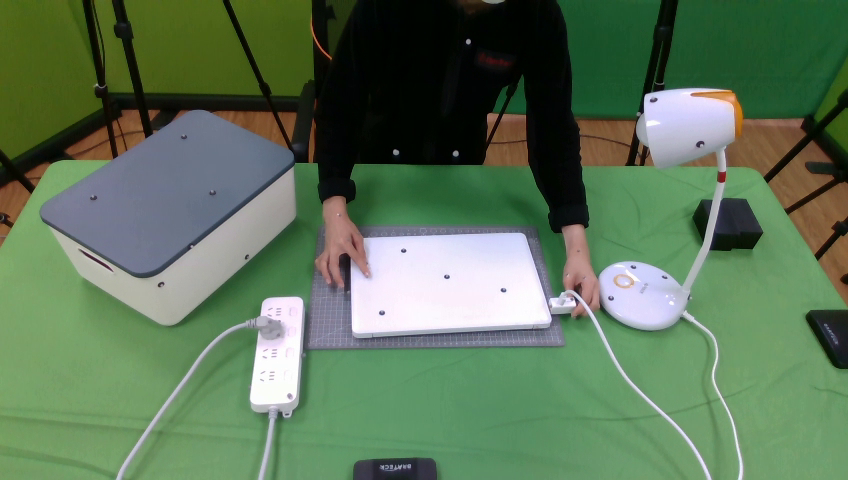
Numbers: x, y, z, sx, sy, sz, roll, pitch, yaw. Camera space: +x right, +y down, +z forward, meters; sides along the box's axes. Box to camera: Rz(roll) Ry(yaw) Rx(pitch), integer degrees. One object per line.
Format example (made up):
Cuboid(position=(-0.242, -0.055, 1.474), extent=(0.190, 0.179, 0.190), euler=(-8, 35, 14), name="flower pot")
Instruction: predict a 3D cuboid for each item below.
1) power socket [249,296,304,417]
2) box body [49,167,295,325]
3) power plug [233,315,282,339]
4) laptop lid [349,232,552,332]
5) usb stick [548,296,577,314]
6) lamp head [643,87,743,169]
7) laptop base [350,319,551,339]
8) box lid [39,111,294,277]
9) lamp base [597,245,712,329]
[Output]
Cuboid(position=(-0.239, 0.182, 0.996), extent=(0.072, 0.033, 0.225), euler=(-2, 47, -5), name="power socket")
Cuboid(position=(-0.437, -0.046, 1.110), extent=(0.253, 0.161, 0.363), euler=(24, 49, 19), name="box body")
Cuboid(position=(-0.271, 0.144, 1.000), extent=(0.072, 0.053, 0.035), euler=(6, 47, 3), name="power plug")
Cuboid(position=(0.040, 0.070, 1.119), extent=(0.357, 0.013, 0.240), euler=(-1, 44, -5), name="laptop lid")
Cuboid(position=(0.241, 0.118, 1.088), extent=(0.059, 0.027, 0.021), euler=(-5, 54, -4), name="usb stick")
Cuboid(position=(0.380, -0.161, 0.852), extent=(0.122, 0.113, 0.112), euler=(-4, 42, 25), name="lamp head")
Cuboid(position=(0.040, 0.080, 1.126), extent=(0.355, 0.023, 0.234), euler=(-2, 43, -6), name="laptop base")
Cuboid(position=(-0.435, -0.097, 1.055), extent=(0.262, 0.015, 0.370), euler=(25, 49, 18), name="box lid")
Cuboid(position=(0.418, 0.051, 1.071), extent=(0.179, 0.181, 0.160), euler=(22, 49, 13), name="lamp base")
